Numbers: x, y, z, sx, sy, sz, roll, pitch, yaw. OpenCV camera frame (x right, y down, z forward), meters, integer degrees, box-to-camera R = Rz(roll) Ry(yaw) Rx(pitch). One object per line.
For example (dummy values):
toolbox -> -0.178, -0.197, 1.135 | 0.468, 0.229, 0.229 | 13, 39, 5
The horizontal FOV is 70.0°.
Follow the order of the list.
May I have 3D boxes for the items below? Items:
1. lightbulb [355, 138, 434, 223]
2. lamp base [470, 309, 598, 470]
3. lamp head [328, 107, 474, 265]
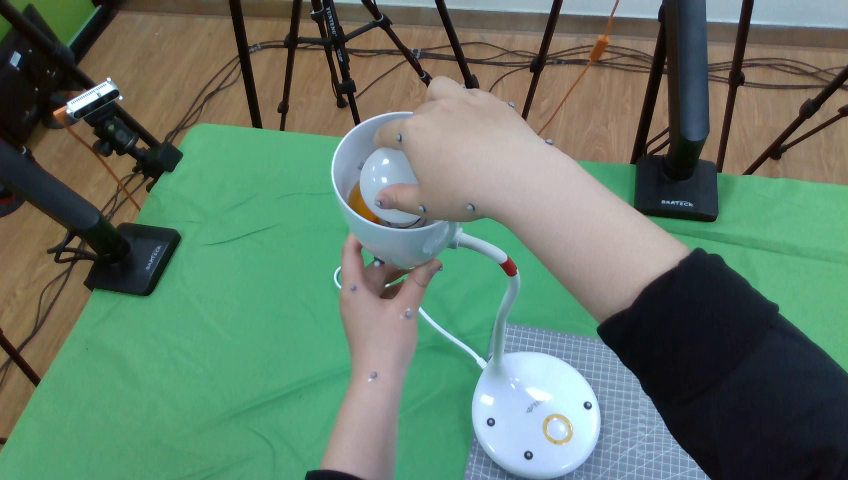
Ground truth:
lightbulb -> -0.022, -0.038, 0.479 | 0.059, 0.108, 0.059 | 0, 69, 1
lamp base -> 0.120, 0.161, 0.710 | 0.177, 0.182, 0.160 | 32, 65, 28
lamp head -> -0.014, -0.030, 0.504 | 0.112, 0.124, 0.111 | -2, 60, 4
